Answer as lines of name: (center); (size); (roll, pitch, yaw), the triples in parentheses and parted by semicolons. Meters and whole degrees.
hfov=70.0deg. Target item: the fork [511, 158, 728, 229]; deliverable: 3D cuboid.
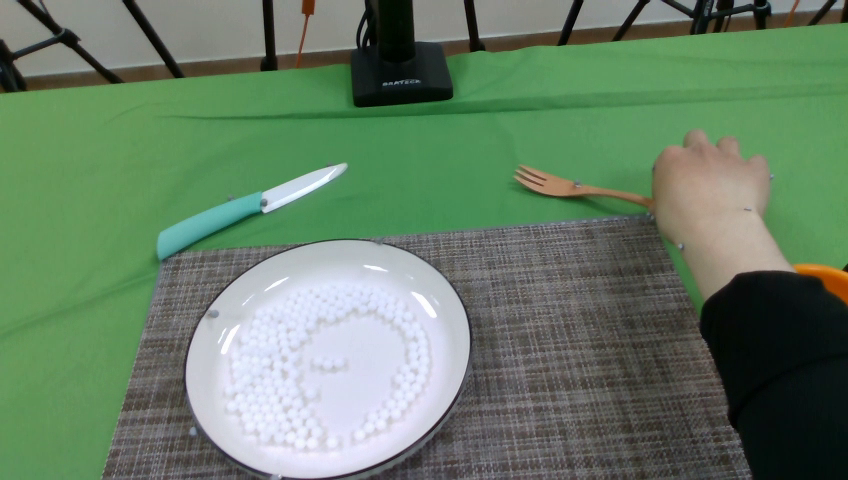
fork: (0.183, -0.044, 0.581); (0.206, 0.019, 0.028); (17, 58, 20)

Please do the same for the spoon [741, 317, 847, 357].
spoon: (0.298, 0.064, 0.388); (0.041, 0.193, 0.022); (-36, 100, -27)

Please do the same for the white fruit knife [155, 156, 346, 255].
white fruit knife: (-0.164, -0.041, 0.593); (0.207, 0.016, 0.027); (-28, 75, -27)

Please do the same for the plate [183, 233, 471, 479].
plate: (-0.068, 0.081, 0.455); (0.209, 0.038, 0.207); (-1, 47, 1)
